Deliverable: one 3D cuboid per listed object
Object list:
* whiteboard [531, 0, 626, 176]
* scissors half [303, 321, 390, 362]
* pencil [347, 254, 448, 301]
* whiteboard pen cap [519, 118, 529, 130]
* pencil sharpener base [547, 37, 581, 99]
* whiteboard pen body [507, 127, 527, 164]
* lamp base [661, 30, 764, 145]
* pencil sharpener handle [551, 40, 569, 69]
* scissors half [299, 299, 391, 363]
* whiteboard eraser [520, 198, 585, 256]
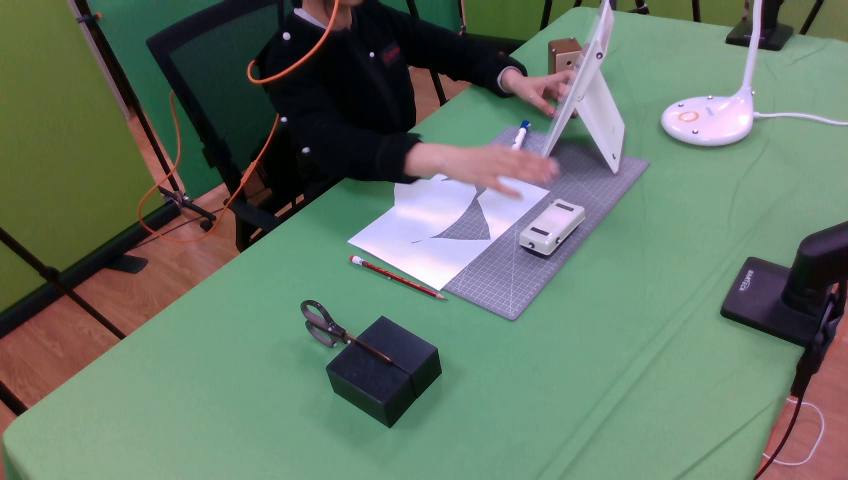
[{"bbox_3d":[0.320,-0.258,1.050,0.144,0.306,0.217,22,45,5],"label":"whiteboard"},{"bbox_3d":[-0.105,0.138,0.803,0.174,0.040,0.013,8,27,43],"label":"scissors half"},{"bbox_3d":[-0.044,0.058,0.933,0.192,0.012,0.012,22,49,28],"label":"pencil"},{"bbox_3d":[0.199,-0.227,1.204,0.018,0.018,0.033,5,44,16],"label":"whiteboard pen cap"},{"bbox_3d":[0.300,-0.368,1.290,0.061,0.107,0.076,-8,40,3],"label":"pencil sharpener base"},{"bbox_3d":[0.181,-0.189,1.162,0.017,0.017,0.140,8,42,19],"label":"whiteboard pen body"},{"bbox_3d":[0.535,-0.287,1.096,0.179,0.181,0.159,-10,40,-4],"label":"lamp base"},{"bbox_3d":[0.291,-0.409,1.321,0.036,0.068,0.030,2,40,-6],"label":"pencil sharpener handle"},{"bbox_3d":[-0.107,0.120,0.794,0.174,0.040,0.013,26,44,32],"label":"scissors half"},{"bbox_3d":[0.202,-0.019,0.946,0.055,0.042,0.113,22,49,36],"label":"whiteboard eraser"}]
